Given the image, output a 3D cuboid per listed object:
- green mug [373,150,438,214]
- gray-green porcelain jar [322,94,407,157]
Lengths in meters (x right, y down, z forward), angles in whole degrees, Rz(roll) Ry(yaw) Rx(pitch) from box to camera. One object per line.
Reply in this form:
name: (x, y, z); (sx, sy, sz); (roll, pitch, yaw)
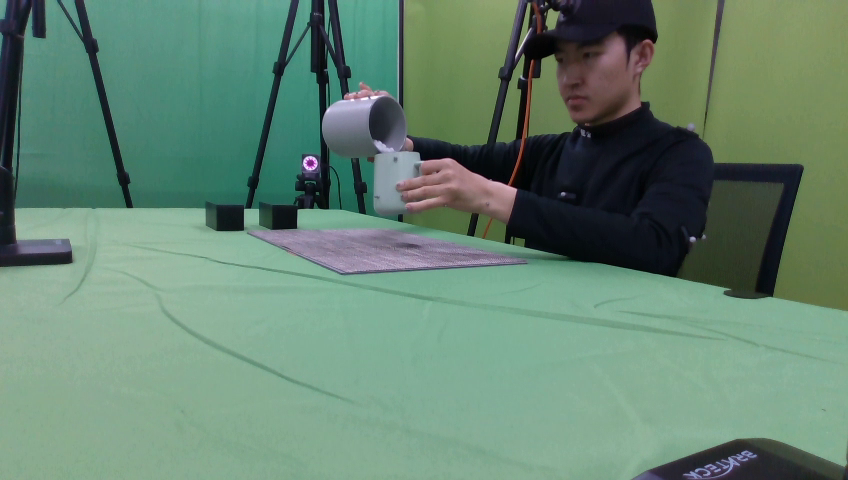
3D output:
green mug: (-0.030, -0.099, 1.034); (0.125, 0.105, 0.093); (-2, 3, 35)
gray-green porcelain jar: (-0.112, -0.204, 1.087); (0.126, 0.106, 0.106); (2, 6, 38)
